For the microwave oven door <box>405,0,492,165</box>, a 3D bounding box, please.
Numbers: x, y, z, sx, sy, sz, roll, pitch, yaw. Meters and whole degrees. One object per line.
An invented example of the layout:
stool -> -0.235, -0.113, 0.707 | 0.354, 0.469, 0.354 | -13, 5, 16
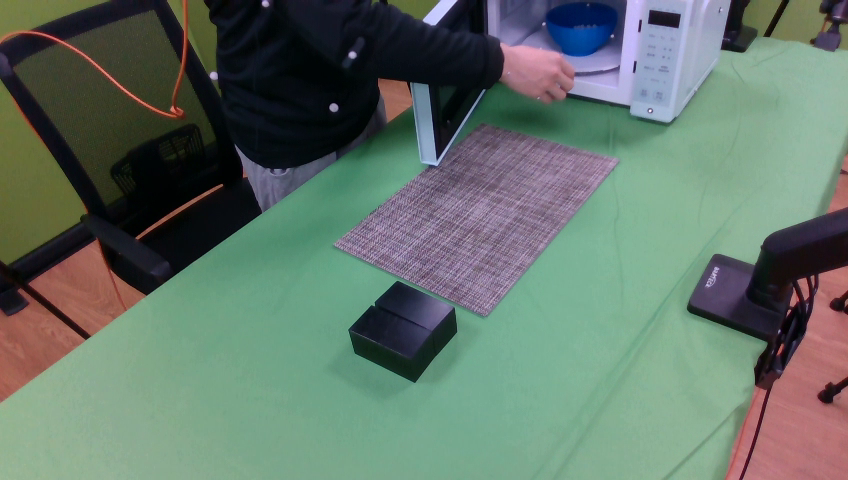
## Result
microwave oven door -> 0.059, -0.343, 1.165 | 0.039, 0.245, 0.355 | 10, 43, 20

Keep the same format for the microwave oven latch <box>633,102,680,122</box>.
microwave oven latch -> 0.444, -0.249, 1.157 | 0.078, 0.029, 0.030 | 22, 49, 31

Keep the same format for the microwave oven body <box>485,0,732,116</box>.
microwave oven body -> 0.377, -0.462, 1.267 | 0.438, 0.261, 0.327 | 21, 48, 30
